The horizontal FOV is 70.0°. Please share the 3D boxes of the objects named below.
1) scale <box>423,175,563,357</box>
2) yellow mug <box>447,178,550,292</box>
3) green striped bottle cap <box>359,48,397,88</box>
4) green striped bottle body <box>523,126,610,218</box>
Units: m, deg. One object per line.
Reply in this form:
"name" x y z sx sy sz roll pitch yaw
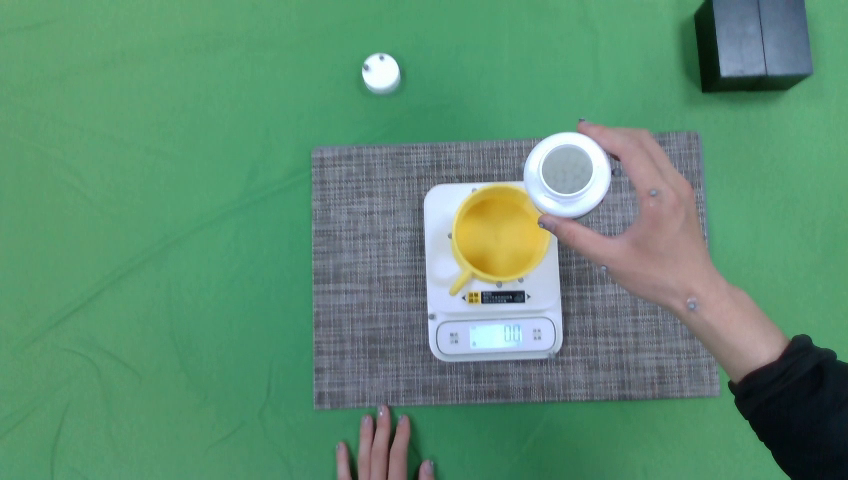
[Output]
"scale" 0.076 0.028 0.675 0.148 0.031 0.200 -3 85 2
"yellow mug" 0.067 0.002 0.630 0.100 0.064 0.131 38 87 5
"green striped bottle cap" -0.054 -0.203 0.715 0.044 0.020 0.044 0 87 2
"green striped bottle body" 0.111 -0.051 0.475 0.063 0.119 0.063 0 89 12
